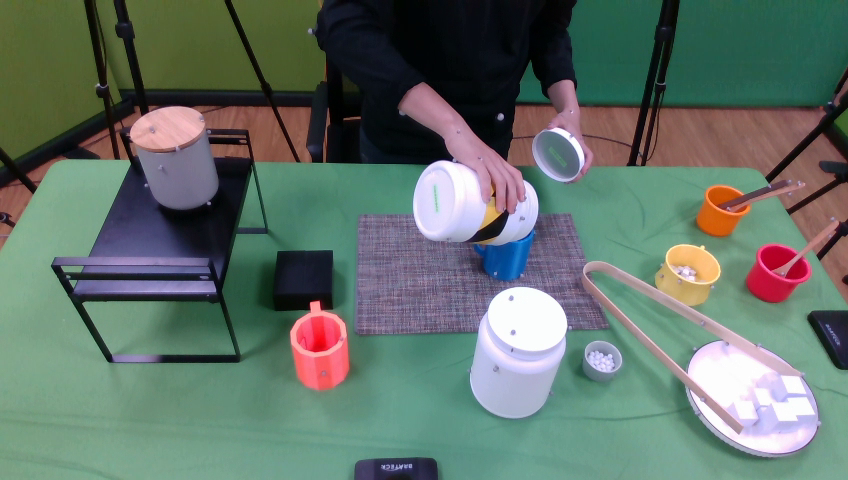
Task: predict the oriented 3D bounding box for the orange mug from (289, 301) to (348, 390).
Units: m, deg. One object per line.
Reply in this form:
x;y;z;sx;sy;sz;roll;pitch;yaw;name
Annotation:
-0.170;0.162;0.976;0.083;0.101;0.125;-8;52;-11;orange mug

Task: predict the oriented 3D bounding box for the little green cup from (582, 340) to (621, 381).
0.295;0.203;1.014;0.061;0.039;0.061;3;46;-2;little green cup

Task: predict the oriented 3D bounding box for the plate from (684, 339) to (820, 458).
0.523;0.256;0.982;0.208;0.039;0.206;2;46;-2;plate

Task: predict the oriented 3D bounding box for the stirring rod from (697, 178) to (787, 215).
0.650;-0.088;1.245;0.006;0.176;0.014;29;50;-39;stirring rod

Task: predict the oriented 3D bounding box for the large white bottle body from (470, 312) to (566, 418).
0.143;0.173;0.930;0.131;0.185;0.130;2;46;-2;large white bottle body

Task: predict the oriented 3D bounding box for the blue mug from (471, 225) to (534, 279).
0.141;0.005;1.140;0.116;0.106;0.082;18;48;13;blue mug

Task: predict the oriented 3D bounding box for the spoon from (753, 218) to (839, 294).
0.700;0.031;1.138;0.194;0.022;0.041;-47;55;14;spoon

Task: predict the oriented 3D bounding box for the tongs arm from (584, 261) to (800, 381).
0.452;0.137;1.064;0.051;0.027;0.382;-34;50;-27;tongs arm

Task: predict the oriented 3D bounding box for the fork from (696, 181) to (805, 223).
0.659;-0.077;1.232;0.207;0.019;0.028;-26;35;34;fork

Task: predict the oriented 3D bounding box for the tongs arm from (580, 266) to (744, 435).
0.384;0.173;1.028;0.028;0.028;0.385;-25;46;-15;tongs arm

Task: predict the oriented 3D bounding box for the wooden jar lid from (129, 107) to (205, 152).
-0.385;-0.163;0.915;0.108;0.021;0.107;2;47;-2;wooden jar lid

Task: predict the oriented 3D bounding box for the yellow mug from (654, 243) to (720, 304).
0.504;0.054;1.154;0.099;0.064;0.130;28;50;22;yellow mug

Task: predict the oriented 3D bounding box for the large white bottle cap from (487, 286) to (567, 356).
0.147;0.114;0.869;0.115;0.018;0.114;3;46;-3;large white bottle cap

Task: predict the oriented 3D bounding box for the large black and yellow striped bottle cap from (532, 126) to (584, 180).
0.266;-0.172;1.204;0.114;0.115;0.019;35;62;26;large black and yellow striped bottle cap

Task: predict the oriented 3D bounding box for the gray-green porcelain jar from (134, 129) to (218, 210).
-0.388;-0.120;0.960;0.106;0.127;0.105;2;46;-2;gray-green porcelain jar

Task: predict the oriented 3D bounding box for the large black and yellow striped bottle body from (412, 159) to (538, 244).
0.087;-0.060;1.011;0.185;0.131;0.130;4;41;-35;large black and yellow striped bottle body
